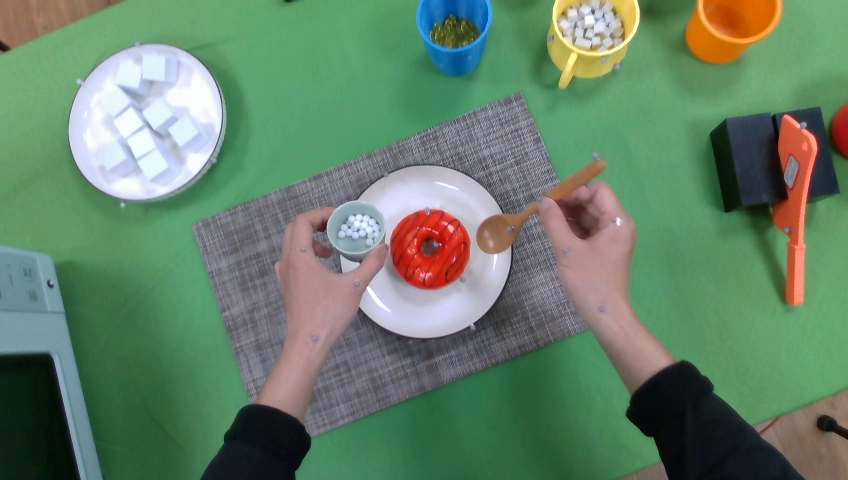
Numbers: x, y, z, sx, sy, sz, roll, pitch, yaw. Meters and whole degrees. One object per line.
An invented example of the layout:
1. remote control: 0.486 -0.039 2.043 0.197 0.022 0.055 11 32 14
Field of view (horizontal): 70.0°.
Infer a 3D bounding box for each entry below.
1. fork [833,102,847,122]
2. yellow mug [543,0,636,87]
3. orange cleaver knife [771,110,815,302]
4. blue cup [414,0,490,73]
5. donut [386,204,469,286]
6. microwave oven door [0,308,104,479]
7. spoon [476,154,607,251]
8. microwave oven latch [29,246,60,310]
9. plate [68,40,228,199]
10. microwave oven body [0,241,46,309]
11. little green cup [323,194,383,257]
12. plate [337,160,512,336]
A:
1. fork: 0.549 -0.125 0.640 0.028 0.019 0.205 -51 38 -12
2. yellow mug: 0.190 -0.244 0.728 0.100 0.064 0.130 26 87 7
3. orange cleaver knife: 0.405 -0.035 0.674 0.012 0.076 0.212 -7 112 7
4. blue cup: 0.035 -0.247 0.726 0.092 0.100 0.092 0 84 4
5. donut: 0.004 0.005 0.713 0.099 0.048 0.099 -1 83 8
6. microwave oven door: -0.422 0.241 0.617 0.039 0.244 0.354 -19 81 2
7. spoon: 0.108 -0.033 0.591 0.022 0.194 0.041 -19 80 -31
8. microwave oven latch: -0.477 0.048 0.749 0.030 0.029 0.079 -16 82 3
9. plate: -0.350 -0.152 0.782 0.207 0.039 0.207 -1 83 5
10. microwave oven body: -0.572 0.248 0.635 0.326 0.261 0.440 -19 82 2
11. little green cup: -0.072 -0.013 0.635 0.061 0.039 0.061 0 61 0
12. plate: 0.001 0.009 0.724 0.209 0.038 0.208 -1 83 6
